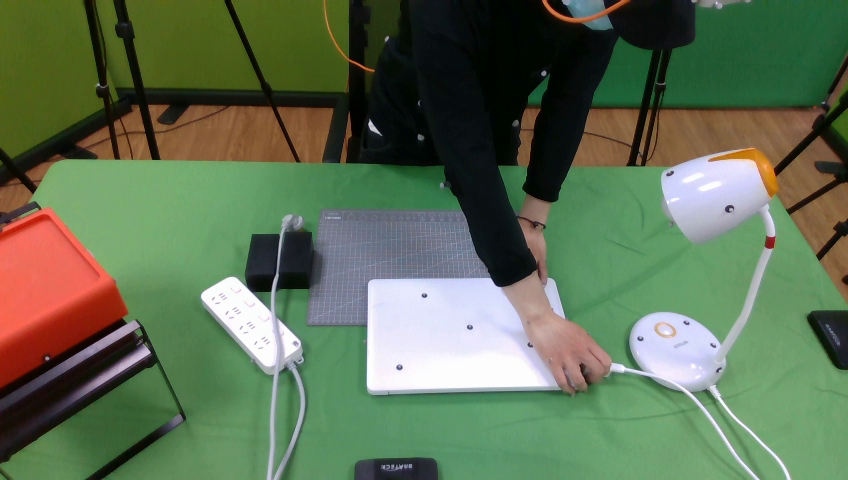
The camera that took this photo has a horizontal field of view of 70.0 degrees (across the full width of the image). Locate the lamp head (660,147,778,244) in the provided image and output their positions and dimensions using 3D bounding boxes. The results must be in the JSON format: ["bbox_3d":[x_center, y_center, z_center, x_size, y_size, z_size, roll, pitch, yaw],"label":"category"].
[{"bbox_3d":[0.389,-0.062,0.784,0.123,0.113,0.112,-22,32,37],"label":"lamp head"}]

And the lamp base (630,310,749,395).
[{"bbox_3d":[0.447,0.143,0.984,0.161,0.181,0.178,-24,55,-24],"label":"lamp base"}]

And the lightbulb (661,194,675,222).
[{"bbox_3d":[0.369,-0.059,0.807,0.060,0.107,0.059,18,61,-35],"label":"lightbulb"}]

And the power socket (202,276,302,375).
[{"bbox_3d":[-0.296,0.142,1.034,0.072,0.033,0.225,-34,58,-31],"label":"power socket"}]

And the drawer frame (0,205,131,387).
[{"bbox_3d":[-0.539,0.076,0.795,0.200,0.083,0.213,36,54,26],"label":"drawer frame"}]

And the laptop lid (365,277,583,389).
[{"bbox_3d":[0.078,0.153,1.046,0.357,0.013,0.240,1,45,-4],"label":"laptop lid"}]

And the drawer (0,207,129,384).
[{"bbox_3d":[-0.539,0.074,0.799,0.193,0.073,0.211,37,55,27],"label":"drawer"}]

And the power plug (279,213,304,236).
[{"bbox_3d":[-0.263,-0.021,1.184,0.035,0.053,0.072,5,49,32],"label":"power plug"}]

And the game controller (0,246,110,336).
[{"bbox_3d":[-0.511,0.062,0.830,0.097,0.052,0.154,-30,58,-32],"label":"game controller"}]

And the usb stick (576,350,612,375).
[{"bbox_3d":[0.284,0.204,1.019,0.059,0.027,0.021,20,58,23],"label":"usb stick"}]

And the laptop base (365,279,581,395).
[{"bbox_3d":[0.077,0.163,1.053,0.355,0.023,0.234,0,44,-5],"label":"laptop base"}]
